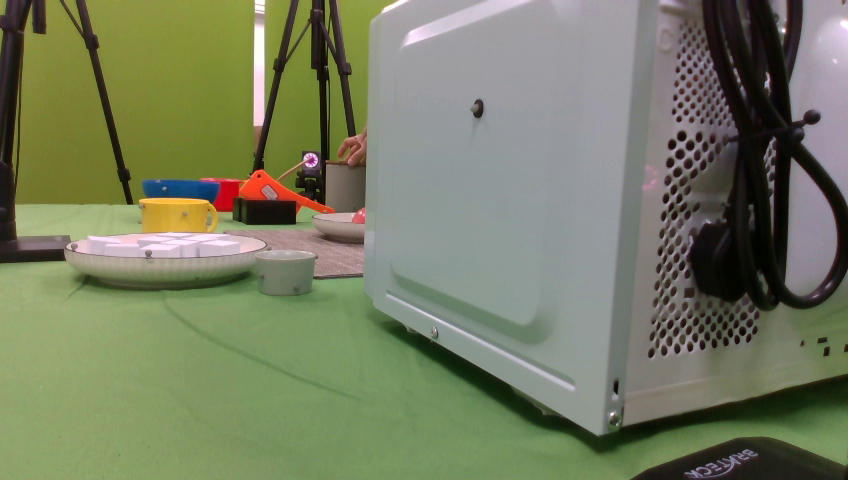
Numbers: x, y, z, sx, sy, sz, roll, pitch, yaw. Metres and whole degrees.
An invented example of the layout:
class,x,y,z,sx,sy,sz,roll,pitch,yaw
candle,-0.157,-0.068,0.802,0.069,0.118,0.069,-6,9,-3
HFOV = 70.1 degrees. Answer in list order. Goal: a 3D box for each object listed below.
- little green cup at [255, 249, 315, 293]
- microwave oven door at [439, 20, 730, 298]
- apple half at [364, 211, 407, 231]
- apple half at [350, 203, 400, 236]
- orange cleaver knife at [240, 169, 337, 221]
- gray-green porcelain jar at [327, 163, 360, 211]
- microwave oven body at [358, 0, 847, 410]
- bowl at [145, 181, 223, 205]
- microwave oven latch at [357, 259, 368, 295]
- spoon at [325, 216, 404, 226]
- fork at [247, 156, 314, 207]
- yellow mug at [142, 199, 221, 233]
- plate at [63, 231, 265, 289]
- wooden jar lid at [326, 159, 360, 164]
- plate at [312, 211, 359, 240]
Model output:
class,x,y,z,sx,sy,sz,roll,pitch,yaw
little green cup,-0.144,0.032,0.627,0.061,0.038,0.061,2,6,0
microwave oven door,0.181,-0.076,0.618,0.358,0.243,0.039,-2,8,-28
apple half,-0.068,-0.037,1.103,0.081,0.033,0.081,0,9,0
apple half,-0.081,-0.036,1.024,0.081,0.053,0.074,-3,11,-33
orange cleaver knife,-0.287,-0.082,1.298,0.212,0.077,0.012,25,-2,-31
gray-green porcelain jar,-0.186,-0.125,1.489,0.106,0.126,0.106,2,8,0
microwave oven body,0.210,-0.051,0.471,0.444,0.260,0.324,-1,7,-28
bowl,-0.499,-0.081,1.261,0.151,0.077,0.151,2,8,0
microwave oven latch,-0.019,0.031,0.529,0.079,0.029,0.030,-1,7,-26
spoon,-0.120,-0.043,1.272,0.195,0.021,0.041,-4,-11,-38
fork,-0.360,-0.147,1.522,0.207,0.018,0.028,-43,9,-7
yellow mug,-0.372,-0.030,0.948,0.099,0.064,0.131,6,7,30
plate,-0.288,0.021,0.687,0.208,0.039,0.207,2,8,0
wooden jar lid,-0.185,-0.186,1.480,0.108,0.020,0.108,3,6,0
plate,-0.091,-0.026,1.063,0.209,0.038,0.209,2,7,0
